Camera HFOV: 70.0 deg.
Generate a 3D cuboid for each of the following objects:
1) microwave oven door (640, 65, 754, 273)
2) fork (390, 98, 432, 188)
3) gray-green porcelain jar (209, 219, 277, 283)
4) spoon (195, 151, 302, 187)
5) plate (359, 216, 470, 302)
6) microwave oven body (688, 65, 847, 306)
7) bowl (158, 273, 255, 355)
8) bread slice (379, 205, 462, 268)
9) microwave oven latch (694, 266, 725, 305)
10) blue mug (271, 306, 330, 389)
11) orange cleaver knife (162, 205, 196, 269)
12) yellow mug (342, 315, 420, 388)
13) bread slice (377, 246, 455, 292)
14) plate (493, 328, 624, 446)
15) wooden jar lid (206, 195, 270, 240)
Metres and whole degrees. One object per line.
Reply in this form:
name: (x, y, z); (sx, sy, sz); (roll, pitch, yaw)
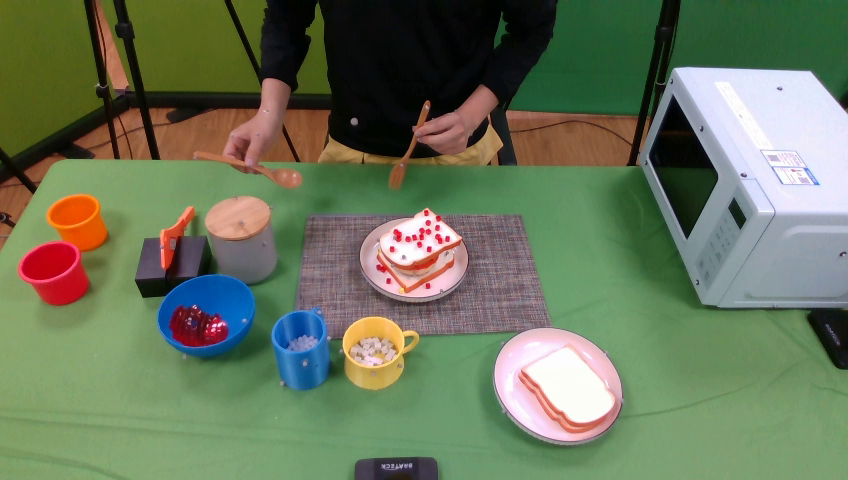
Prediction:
microwave oven door: (0.523, -0.147, 1.193); (0.039, 0.245, 0.353); (0, 47, -3)
fork: (-0.024, -0.177, 1.135); (0.028, 0.208, 0.018); (4, 47, -24)
gray-green porcelain jar: (-0.323, 0.007, 1.092); (0.106, 0.127, 0.105); (2, 46, -2)
spoon: (-0.319, -0.136, 1.115); (0.194, 0.021, 0.041); (15, 65, -29)
plate: (-0.019, 0.038, 1.140); (0.209, 0.038, 0.208); (2, 46, -2)
microwave oven body: (0.669, -0.111, 1.176); (0.326, 0.261, 0.439); (0, 46, -3)
bowl: (-0.351, 0.135, 1.001); (0.151, 0.077, 0.150); (2, 46, -2)
bread slice: (-0.012, -0.001, 1.097); (0.134, 0.018, 0.106); (-33, 51, -23)
microwave oven latch: (0.523, 0.082, 1.115); (0.030, 0.029, 0.078); (3, 46, 0)
blue mug: (-0.188, 0.163, 0.969); (0.082, 0.106, 0.116); (15, 47, 10)
orange cleaver knife: (-0.454, -0.010, 1.129); (0.012, 0.077, 0.210); (-1, 20, -5)
yellow mug: (-0.068, 0.177, 0.990); (0.131, 0.064, 0.099); (-15, 50, -19)
bread slice: (-0.010, 0.034, 1.151); (0.131, 0.019, 0.104); (-29, 56, -23)
plate: (0.213, 0.236, 0.974); (0.208, 0.039, 0.206); (2, 46, -2)
wooden jar lid: (-0.319, -0.036, 1.046); (0.108, 0.021, 0.107); (1, 44, 0)
